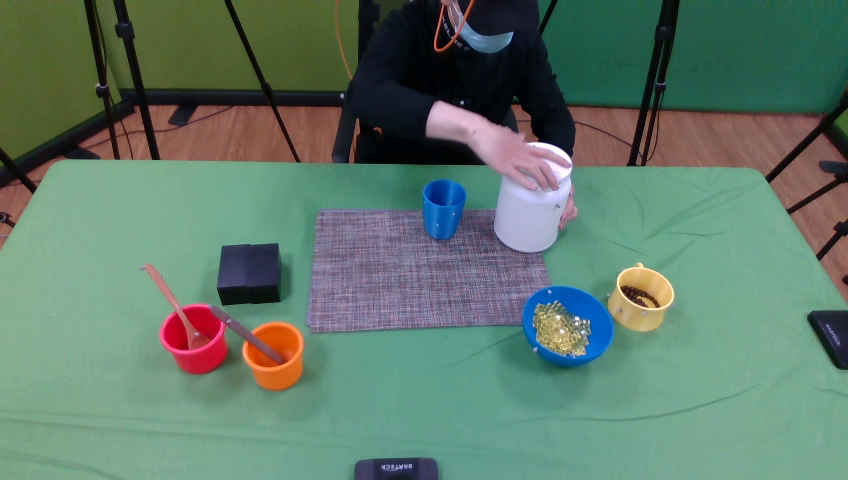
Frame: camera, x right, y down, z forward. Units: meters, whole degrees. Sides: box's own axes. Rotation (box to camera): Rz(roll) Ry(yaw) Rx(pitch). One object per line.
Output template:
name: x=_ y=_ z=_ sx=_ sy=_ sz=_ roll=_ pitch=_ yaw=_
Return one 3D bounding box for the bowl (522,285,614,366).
bowl: x=0.235 y=0.158 z=1.022 sx=0.151 sy=0.077 sz=0.150 roll=2 pitch=46 yaw=-2

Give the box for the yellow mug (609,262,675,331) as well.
yellow mug: x=0.393 y=0.094 z=1.103 sx=0.100 sy=0.064 sz=0.130 roll=7 pitch=45 yaw=4

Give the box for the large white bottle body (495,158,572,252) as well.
large white bottle body: x=0.211 y=-0.081 z=1.172 sx=0.131 sy=0.185 sz=0.130 roll=1 pitch=46 yaw=-1

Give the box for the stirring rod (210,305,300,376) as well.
stirring rod: x=-0.262 y=0.158 z=0.946 sx=0.177 sy=0.006 sz=0.014 roll=44 pitch=43 yaw=-21

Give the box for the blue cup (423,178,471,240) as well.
blue cup: x=0.036 y=-0.056 z=1.192 sx=0.093 sy=0.101 sz=0.092 roll=3 pitch=45 yaw=-3

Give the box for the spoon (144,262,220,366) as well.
spoon: x=-0.389 y=0.118 z=0.970 sx=0.041 sy=0.021 sz=0.194 roll=-34 pitch=101 yaw=-34

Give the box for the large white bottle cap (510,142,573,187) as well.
large white bottle cap: x=0.215 y=-0.140 z=1.110 sx=0.115 sy=0.018 sz=0.114 roll=2 pitch=46 yaw=-2
